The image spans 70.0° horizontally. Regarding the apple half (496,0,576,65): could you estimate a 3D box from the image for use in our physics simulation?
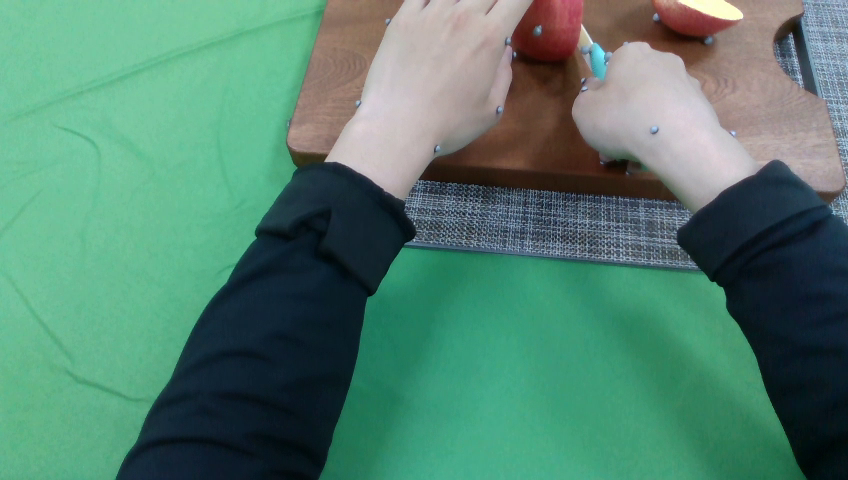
[{"bbox_3d":[0.082,-0.176,0.463,0.053,0.075,0.080,-7,63,2],"label":"apple half"}]

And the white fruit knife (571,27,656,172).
[{"bbox_3d":[0.124,-0.130,0.450,0.016,0.028,0.205,-12,51,-3],"label":"white fruit knife"}]

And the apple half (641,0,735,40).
[{"bbox_3d":[0.199,-0.179,0.479,0.081,0.033,0.080,12,45,-12],"label":"apple half"}]
